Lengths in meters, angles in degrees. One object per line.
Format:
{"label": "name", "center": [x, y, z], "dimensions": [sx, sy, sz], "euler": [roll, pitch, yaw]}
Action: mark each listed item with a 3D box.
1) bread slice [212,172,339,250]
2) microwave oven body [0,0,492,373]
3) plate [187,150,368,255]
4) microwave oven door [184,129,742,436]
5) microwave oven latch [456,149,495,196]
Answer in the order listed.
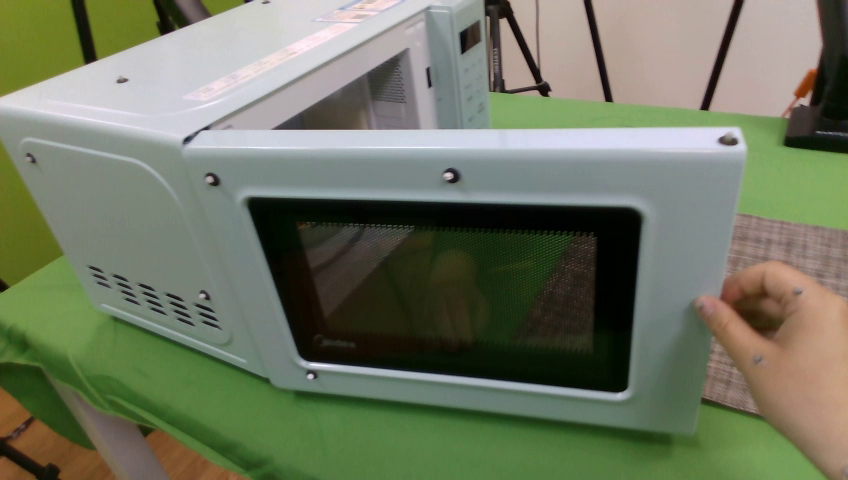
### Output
{"label": "bread slice", "center": [-0.168, -0.042, 0.709], "dimensions": [0.104, 0.019, 0.131], "euler": [21, 45, 35]}
{"label": "microwave oven body", "center": [-0.160, -0.106, 0.705], "dimensions": [0.324, 0.262, 0.440], "euler": [13, 40, 28]}
{"label": "plate", "center": [-0.166, -0.043, 0.706], "dimensions": [0.209, 0.038, 0.207], "euler": [-6, 34, 4]}
{"label": "microwave oven door", "center": [0.021, 0.035, 0.446], "dimensions": [0.355, 0.246, 0.039], "euler": [2, 35, 15]}
{"label": "microwave oven latch", "center": [0.068, -0.091, 0.811], "dimensions": [0.030, 0.030, 0.079], "euler": [14, 40, 29]}
